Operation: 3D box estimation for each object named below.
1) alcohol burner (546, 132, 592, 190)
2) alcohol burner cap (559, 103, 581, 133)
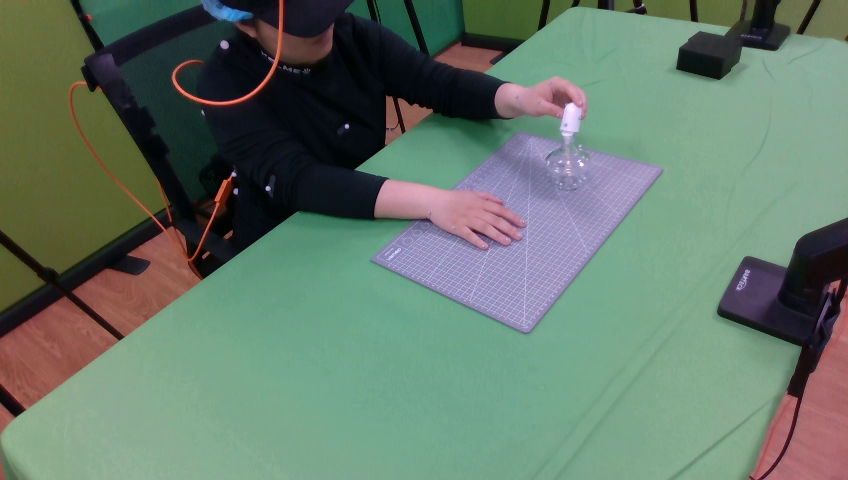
[{"bbox_3d":[0.247,-0.146,1.035,0.078,0.120,0.077,-7,41,6],"label":"alcohol burner"},{"bbox_3d":[0.243,-0.201,0.997,0.034,0.048,0.034,3,23,-1],"label":"alcohol burner cap"}]
